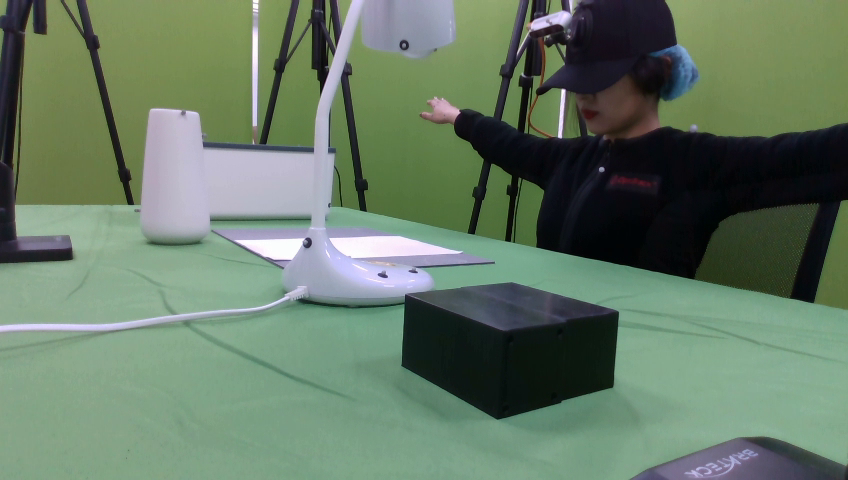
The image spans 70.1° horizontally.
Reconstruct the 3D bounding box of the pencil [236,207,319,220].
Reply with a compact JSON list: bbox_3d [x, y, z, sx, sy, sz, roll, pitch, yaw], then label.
[{"bbox_3d":[-0.347,-0.062,1.437,0.194,0.012,0.012,8,7,-6],"label":"pencil"}]

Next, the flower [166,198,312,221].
[{"bbox_3d":[-0.397,-0.058,1.355,0.044,0.038,0.364,-37,-25,32],"label":"flower"}]

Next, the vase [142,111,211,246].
[{"bbox_3d":[-0.378,-0.093,0.920,0.098,0.200,0.098,2,9,0],"label":"vase"}]

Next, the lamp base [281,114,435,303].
[{"bbox_3d":[-0.071,-0.035,0.614,0.160,0.180,0.180,6,10,27],"label":"lamp base"}]

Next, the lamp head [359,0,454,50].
[{"bbox_3d":[-0.024,-0.283,0.674,0.112,0.123,0.112,-3,38,3],"label":"lamp head"}]

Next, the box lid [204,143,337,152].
[{"bbox_3d":[-0.407,-0.209,1.370,0.373,0.015,0.262,-3,9,-30],"label":"box lid"}]

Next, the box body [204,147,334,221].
[{"bbox_3d":[-0.413,-0.134,1.379,0.366,0.160,0.253,-2,9,-31],"label":"box body"}]
